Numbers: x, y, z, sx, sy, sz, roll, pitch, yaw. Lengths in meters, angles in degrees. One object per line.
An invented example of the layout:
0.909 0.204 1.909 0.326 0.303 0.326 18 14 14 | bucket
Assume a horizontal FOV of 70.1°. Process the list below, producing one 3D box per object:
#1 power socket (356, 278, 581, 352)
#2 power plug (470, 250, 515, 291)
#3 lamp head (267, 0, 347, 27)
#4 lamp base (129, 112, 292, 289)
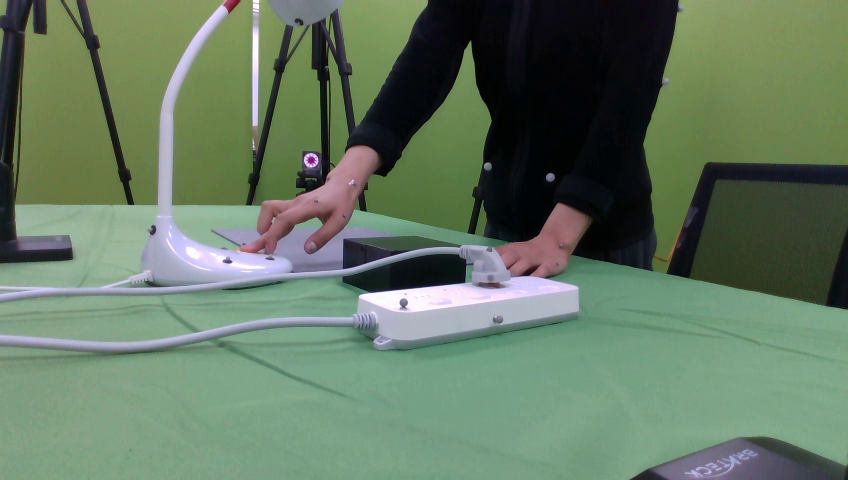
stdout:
0.045 0.059 0.523 0.228 0.032 0.072 -3 8 -36 | power socket
0.053 0.037 0.529 0.035 0.052 0.073 -12 3 36 | power plug
-0.156 -0.326 0.702 0.112 0.112 0.123 6 -16 26 | lamp head
-0.233 -0.045 0.658 0.160 0.180 0.180 7 10 29 | lamp base
